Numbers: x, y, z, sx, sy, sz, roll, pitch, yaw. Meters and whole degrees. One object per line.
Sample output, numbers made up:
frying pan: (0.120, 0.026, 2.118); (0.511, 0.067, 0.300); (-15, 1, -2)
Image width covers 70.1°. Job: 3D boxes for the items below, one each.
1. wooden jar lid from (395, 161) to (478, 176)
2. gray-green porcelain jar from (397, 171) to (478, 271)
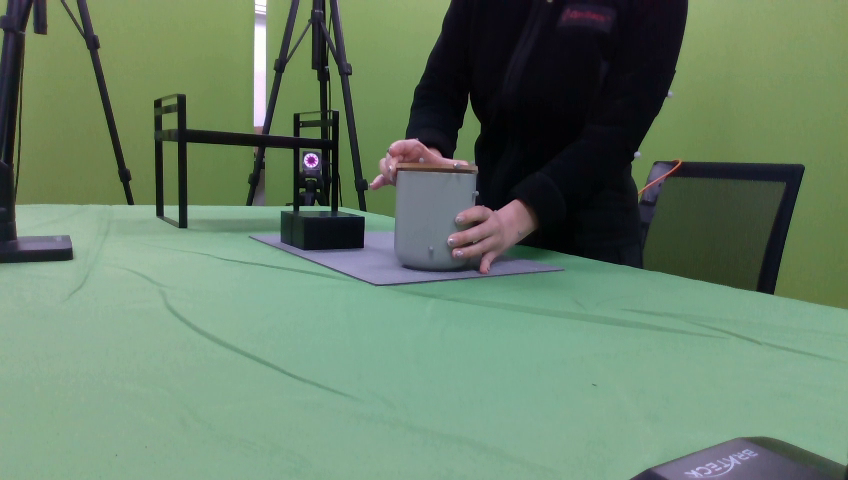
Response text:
wooden jar lid: (0.016, -0.091, 0.784); (0.108, 0.020, 0.108); (3, 5, 0)
gray-green porcelain jar: (0.017, -0.026, 0.795); (0.106, 0.126, 0.106); (0, 4, 0)
